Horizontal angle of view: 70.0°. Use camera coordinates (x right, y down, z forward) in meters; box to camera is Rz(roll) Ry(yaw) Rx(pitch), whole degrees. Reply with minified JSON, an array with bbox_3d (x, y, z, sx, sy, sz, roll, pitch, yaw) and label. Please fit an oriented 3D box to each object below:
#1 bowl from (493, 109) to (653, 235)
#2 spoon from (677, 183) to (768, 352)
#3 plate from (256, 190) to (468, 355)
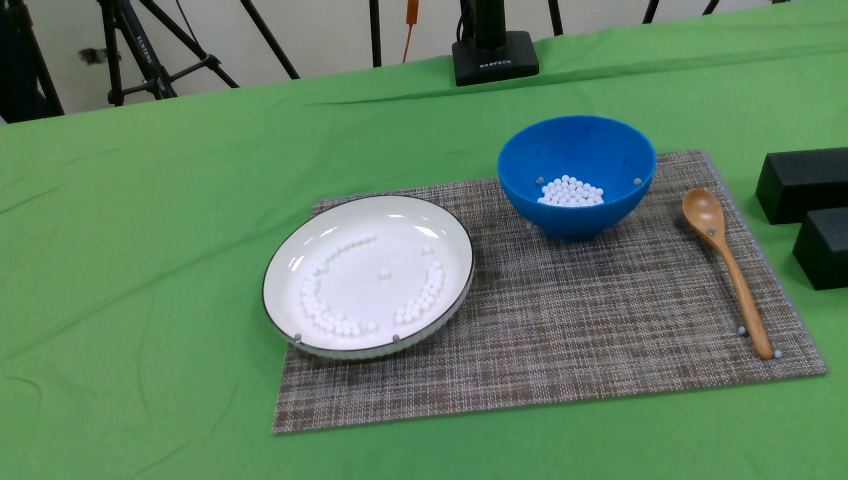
[{"bbox_3d":[0.148,-0.058,0.613,0.151,0.077,0.150,-6,44,6],"label":"bowl"},{"bbox_3d":[0.271,0.017,0.549,0.042,0.022,0.192,7,44,-6],"label":"spoon"},{"bbox_3d":[-0.058,0.031,0.597,0.207,0.039,0.205,-6,44,6],"label":"plate"}]
